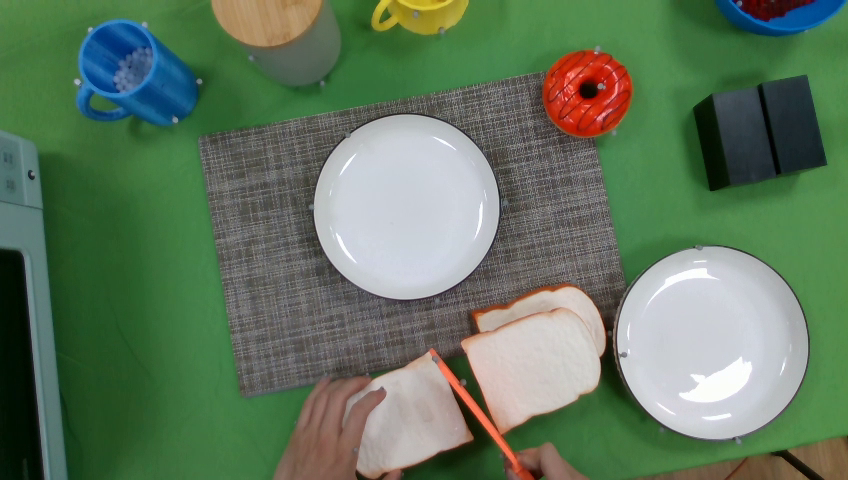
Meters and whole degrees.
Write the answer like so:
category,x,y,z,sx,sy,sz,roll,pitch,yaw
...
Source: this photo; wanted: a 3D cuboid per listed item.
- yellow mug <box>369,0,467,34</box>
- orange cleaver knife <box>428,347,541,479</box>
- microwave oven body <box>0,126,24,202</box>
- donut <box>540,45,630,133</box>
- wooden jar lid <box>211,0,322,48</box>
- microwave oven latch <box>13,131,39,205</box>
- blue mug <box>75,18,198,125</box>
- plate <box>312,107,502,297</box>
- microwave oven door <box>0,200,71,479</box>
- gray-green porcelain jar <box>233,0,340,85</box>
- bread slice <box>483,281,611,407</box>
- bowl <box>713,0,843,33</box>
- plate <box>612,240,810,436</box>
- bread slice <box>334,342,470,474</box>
category,x,y,z,sx,sy,sz,roll,pitch,yaw
yellow mug,-0.011,-0.283,0.680,0.131,0.064,0.100,-42,86,-1
orange cleaver knife,0.073,0.193,0.609,0.012,0.077,0.211,-39,92,-4
microwave oven body,-0.577,0.108,0.567,0.326,0.260,0.441,-8,87,0
donut,0.179,-0.167,0.675,0.099,0.048,0.099,0,87,1
wooden jar lid,-0.151,-0.236,0.587,0.108,0.021,0.108,0,85,2
microwave oven latch,-0.451,-0.079,0.672,0.030,0.029,0.079,-7,87,0
blue mug,-0.320,-0.170,0.659,0.116,0.106,0.082,-36,86,-1
plate,-0.018,-0.041,0.675,0.207,0.039,0.207,0,87,2
microwave oven door,-0.427,0.131,0.558,0.039,0.244,0.355,-8,86,1
gray-green porcelain jar,-0.149,-0.231,0.649,0.106,0.126,0.105,0,86,1
bread slice,0.138,0.101,0.634,0.135,0.018,0.106,-16,82,-28
bowl,0.375,-0.290,0.665,0.151,0.077,0.151,0,87,2
plate,0.307,0.105,0.663,0.209,0.038,0.208,0,87,2
bread slice,-0.031,0.186,0.656,0.131,0.019,0.104,-27,76,-1
